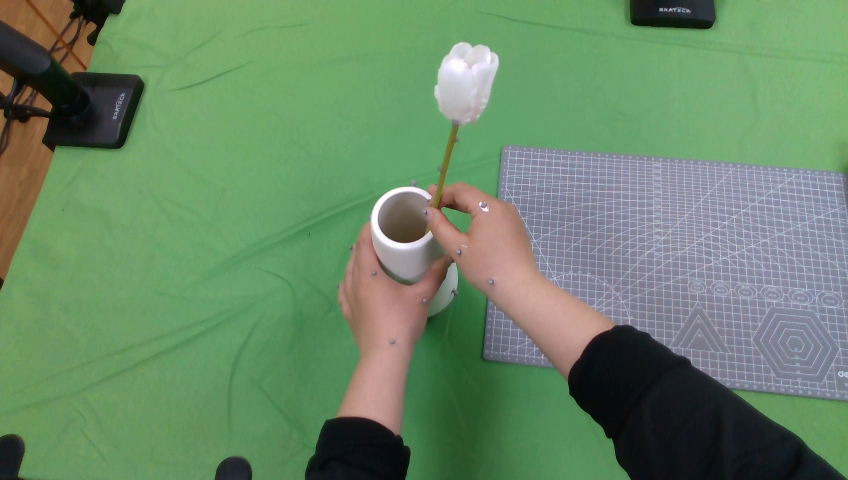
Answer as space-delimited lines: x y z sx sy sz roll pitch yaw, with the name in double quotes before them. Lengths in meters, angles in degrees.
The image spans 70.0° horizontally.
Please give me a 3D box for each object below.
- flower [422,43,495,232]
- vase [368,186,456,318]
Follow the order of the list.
"flower" 0.003 -0.026 0.567 0.044 0.364 0.038 -21 61 -24
"vase" -0.013 0.017 0.667 0.098 0.201 0.097 -1 66 2
